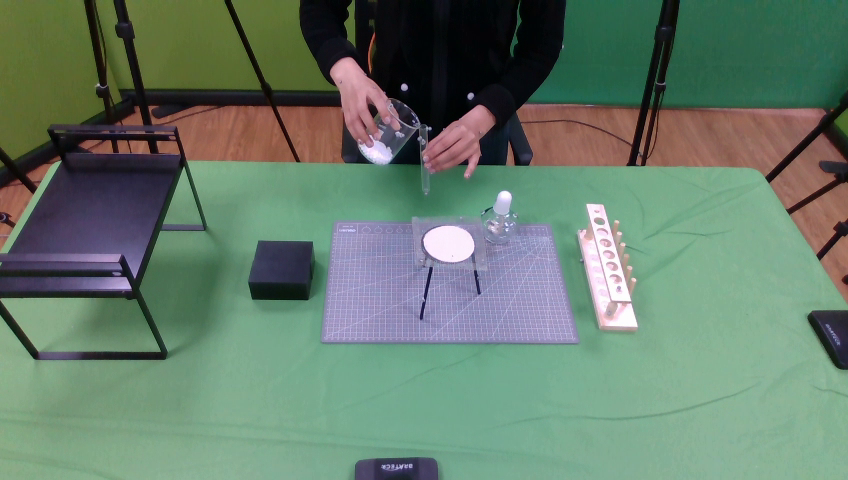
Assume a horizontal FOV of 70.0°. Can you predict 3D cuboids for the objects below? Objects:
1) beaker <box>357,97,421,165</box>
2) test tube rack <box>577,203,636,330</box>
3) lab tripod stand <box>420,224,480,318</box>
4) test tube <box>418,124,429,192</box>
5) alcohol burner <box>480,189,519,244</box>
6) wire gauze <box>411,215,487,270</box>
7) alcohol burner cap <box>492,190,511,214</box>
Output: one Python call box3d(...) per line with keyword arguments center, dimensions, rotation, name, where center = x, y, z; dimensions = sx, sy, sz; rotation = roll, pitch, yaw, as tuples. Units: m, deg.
box3d(center=(-0.063, -0.187, 1.064), dimensions=(0.084, 0.100, 0.073), rotation=(12, 42, -42), name="beaker")
box3d(center=(0.348, 0.045, 1.139), dimensions=(0.067, 0.085, 0.241), rotation=(2, 46, -2), name="test tube rack")
box3d(center=(0.034, 0.051, 1.071), dimensions=(0.148, 0.132, 0.147), rotation=(3, 48, -3), name="lab tripod stand")
box3d(center=(0.000, -0.150, 1.128), dimensions=(0.017, 0.151, 0.017), rotation=(-1, 44, 1), name="test tube")
box3d(center=(0.150, -0.051, 1.191), dimensions=(0.078, 0.120, 0.077), rotation=(1, 46, -1), name="alcohol burner")
box3d(center=(0.041, 0.002, 1.026), dimensions=(0.125, 0.011, 0.120), rotation=(1, 46, -3), name="wire gauze")
box3d(center=(0.151, -0.076, 1.166), dimensions=(0.034, 0.048, 0.033), rotation=(5, 52, -6), name="alcohol burner cap")
